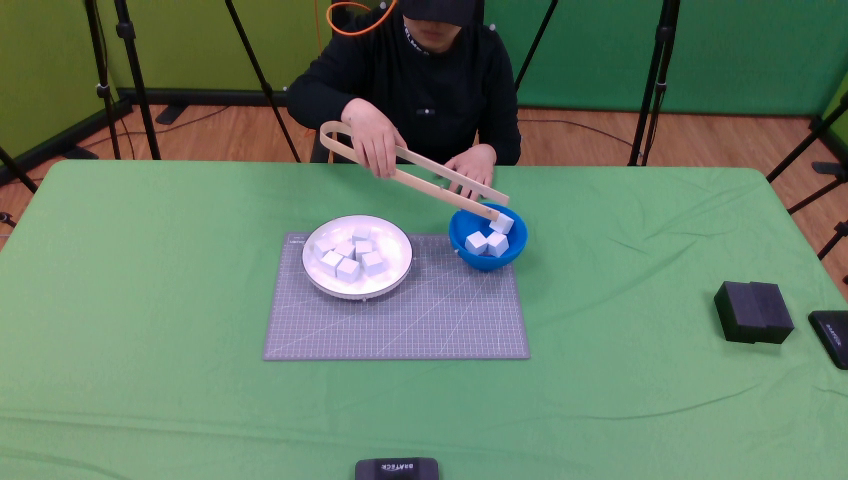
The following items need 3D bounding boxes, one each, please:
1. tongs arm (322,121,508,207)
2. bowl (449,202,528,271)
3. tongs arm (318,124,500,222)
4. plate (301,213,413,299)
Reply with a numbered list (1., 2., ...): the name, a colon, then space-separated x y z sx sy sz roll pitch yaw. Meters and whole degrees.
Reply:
1. tongs arm: -0.020 -0.147 1.157 0.387 0.028 0.028 24 53 9
2. bowl: 0.118 0.006 1.160 0.151 0.077 0.150 2 46 -2
3. tongs arm: -0.033 -0.129 1.137 0.384 0.026 0.050 23 49 8
4. plate: -0.124 0.033 1.143 0.208 0.039 0.206 2 46 -2
